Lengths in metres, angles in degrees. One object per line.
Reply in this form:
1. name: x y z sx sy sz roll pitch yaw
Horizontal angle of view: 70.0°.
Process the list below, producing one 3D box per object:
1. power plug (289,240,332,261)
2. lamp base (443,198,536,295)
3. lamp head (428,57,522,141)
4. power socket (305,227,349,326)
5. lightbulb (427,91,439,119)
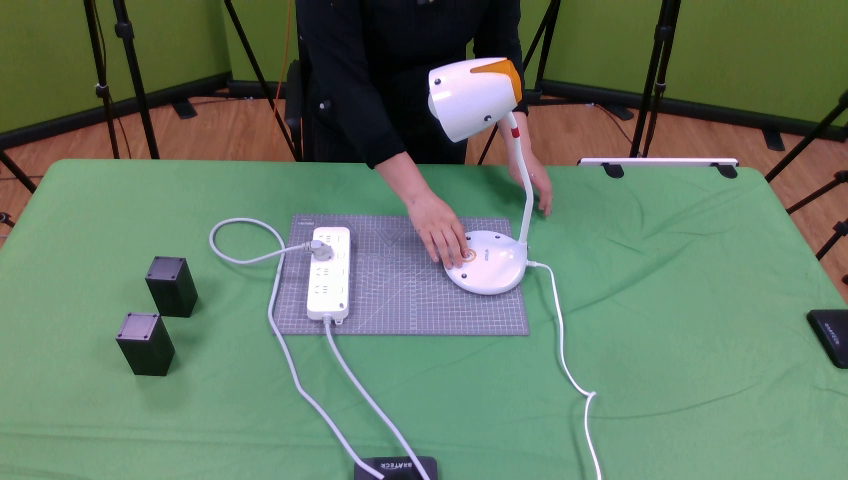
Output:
1. power plug: -0.207 0.022 1.123 0.072 0.053 0.035 6 45 5
2. lamp base: 0.131 -0.013 1.106 0.179 0.181 0.159 0 46 -7
3. lamp head: 0.081 -0.211 0.882 0.123 0.113 0.111 -13 44 14
4. power socket: -0.177 0.059 1.115 0.072 0.033 0.225 -1 46 -4
5. lightbulb: 0.056 -0.212 0.890 0.107 0.060 0.059 -13 42 20
